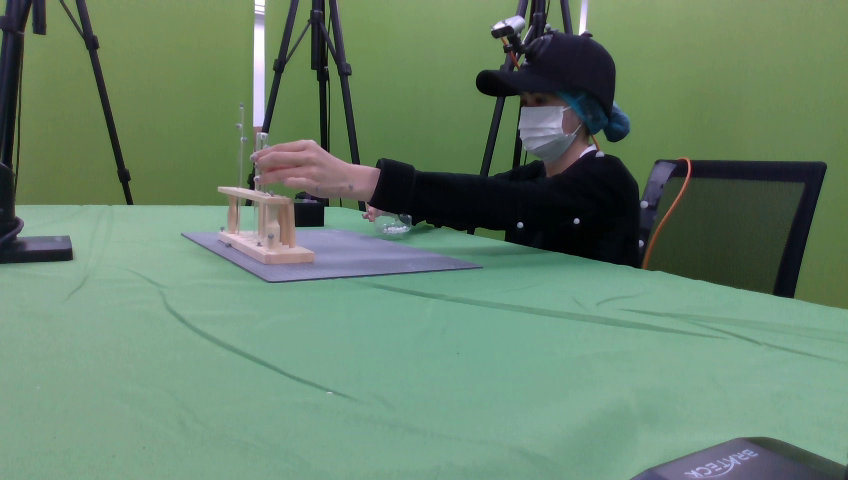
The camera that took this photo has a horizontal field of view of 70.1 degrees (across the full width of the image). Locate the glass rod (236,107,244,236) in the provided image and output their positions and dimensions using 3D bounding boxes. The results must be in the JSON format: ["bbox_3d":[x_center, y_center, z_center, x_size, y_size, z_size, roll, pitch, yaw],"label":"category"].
[{"bbox_3d":[-0.282,-0.103,0.924,0.008,0.199,0.008,2,2,0],"label":"glass rod"}]

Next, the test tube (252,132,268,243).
[{"bbox_3d":[-0.223,-0.070,0.822,0.017,0.150,0.017,4,5,0],"label":"test tube"}]

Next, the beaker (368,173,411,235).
[{"bbox_3d":[-0.057,-0.063,1.082,0.074,0.100,0.083,-11,21,-29],"label":"beaker"}]

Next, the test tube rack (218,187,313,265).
[{"bbox_3d":[-0.235,-0.027,0.872,0.067,0.085,0.241,-2,8,-32],"label":"test tube rack"}]
